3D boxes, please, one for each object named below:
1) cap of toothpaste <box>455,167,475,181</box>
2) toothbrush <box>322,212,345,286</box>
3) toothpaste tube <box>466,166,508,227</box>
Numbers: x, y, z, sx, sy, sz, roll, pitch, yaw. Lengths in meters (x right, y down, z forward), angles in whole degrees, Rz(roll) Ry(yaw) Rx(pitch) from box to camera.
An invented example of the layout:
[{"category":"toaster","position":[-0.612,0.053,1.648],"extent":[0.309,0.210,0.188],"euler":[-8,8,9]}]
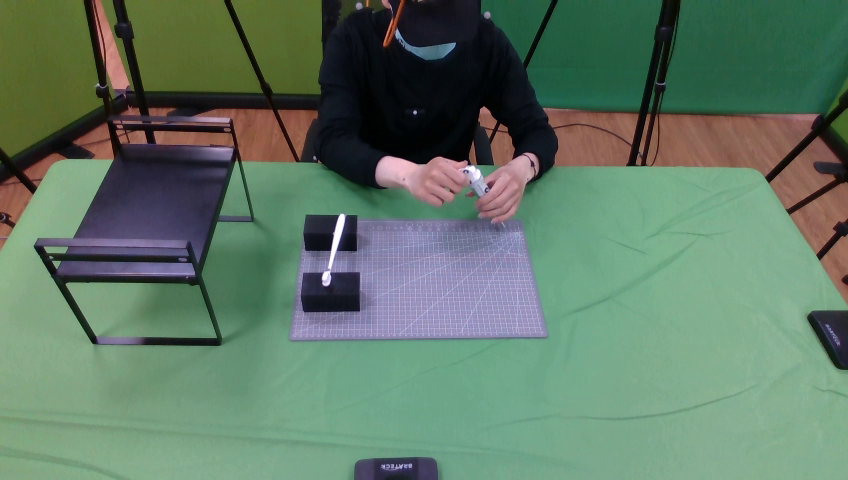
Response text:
[{"category":"cap of toothpaste","position":[0.076,-0.123,1.111],"extent":[0.037,0.037,0.011],"euler":[4,59,0]},{"category":"toothbrush","position":[-0.164,0.011,1.101],"extent":[0.014,0.017,0.181],"euler":[-6,44,12]},{"category":"toothpaste tube","position":[0.122,-0.087,1.182],"extent":[0.034,0.166,0.054],"euler":[-31,44,11]}]
